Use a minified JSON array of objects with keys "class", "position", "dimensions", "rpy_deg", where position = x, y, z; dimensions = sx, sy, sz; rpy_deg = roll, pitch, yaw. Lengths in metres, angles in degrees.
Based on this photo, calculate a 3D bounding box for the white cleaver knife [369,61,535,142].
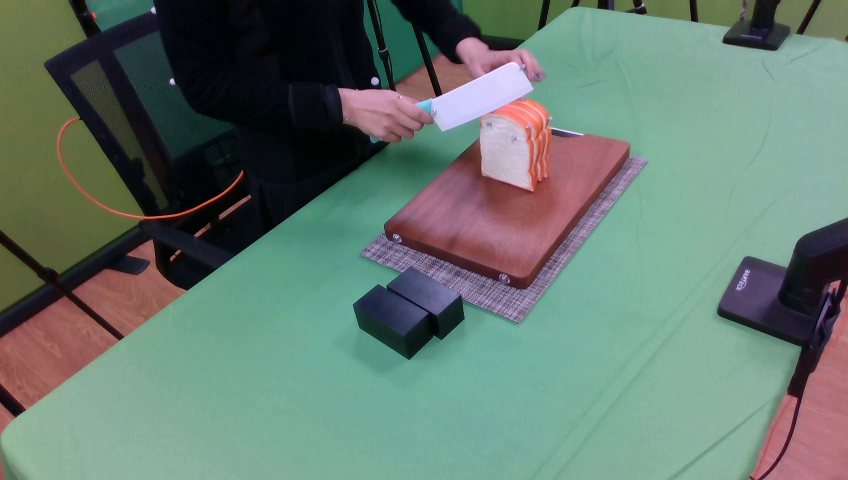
[{"class":"white cleaver knife","position":[0.033,-0.201,0.943],"dimensions":[0.285,0.066,0.021],"rpy_deg":[-16,35,30]}]

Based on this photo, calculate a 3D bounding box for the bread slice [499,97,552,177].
[{"class":"bread slice","position":[0.172,-0.179,1.034],"dimensions":[0.104,0.132,0.019],"rpy_deg":[24,45,31]}]

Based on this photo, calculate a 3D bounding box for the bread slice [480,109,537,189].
[{"class":"bread slice","position":[0.138,-0.154,1.008],"dimensions":[0.106,0.135,0.018],"rpy_deg":[19,49,35]}]
